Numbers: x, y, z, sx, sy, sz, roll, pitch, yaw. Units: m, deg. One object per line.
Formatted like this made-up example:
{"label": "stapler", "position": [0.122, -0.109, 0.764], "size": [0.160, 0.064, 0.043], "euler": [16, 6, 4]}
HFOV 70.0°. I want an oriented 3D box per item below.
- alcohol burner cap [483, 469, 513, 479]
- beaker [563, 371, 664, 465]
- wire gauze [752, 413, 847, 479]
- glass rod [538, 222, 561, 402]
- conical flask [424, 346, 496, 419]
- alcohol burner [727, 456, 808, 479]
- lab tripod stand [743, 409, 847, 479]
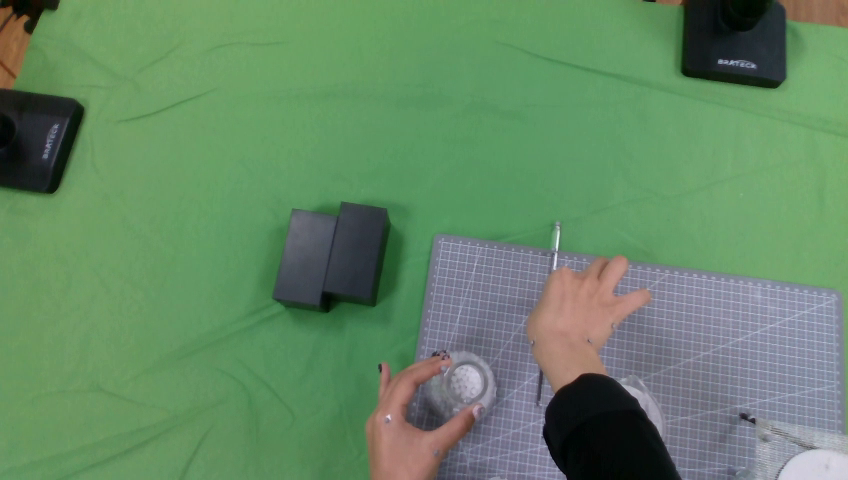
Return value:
{"label": "alcohol burner cap", "position": [0.075, 0.246, 0.597], "size": [0.034, 0.048, 0.033], "euler": [-1, 76, 2]}
{"label": "beaker", "position": [0.178, 0.170, 0.585], "size": [0.074, 0.101, 0.083], "euler": [20, 75, 6]}
{"label": "wire gauze", "position": [0.325, 0.211, 0.483], "size": [0.125, 0.011, 0.121], "euler": [11, 77, 5]}
{"label": "glass rod", "position": [0.137, 0.074, 0.658], "size": [0.008, 0.008, 0.198], "euler": [8, 75, 3]}
{"label": "conical flask", "position": [0.038, 0.135, 0.585], "size": [0.075, 0.122, 0.075], "euler": [0, 75, 0]}
{"label": "alcohol burner", "position": [0.327, 0.240, 0.555], "size": [0.078, 0.120, 0.077], "euler": [-1, 75, 4]}
{"label": "lab tripod stand", "position": [0.326, 0.231, 0.547], "size": [0.148, 0.132, 0.147], "euler": [0, 77, 2]}
